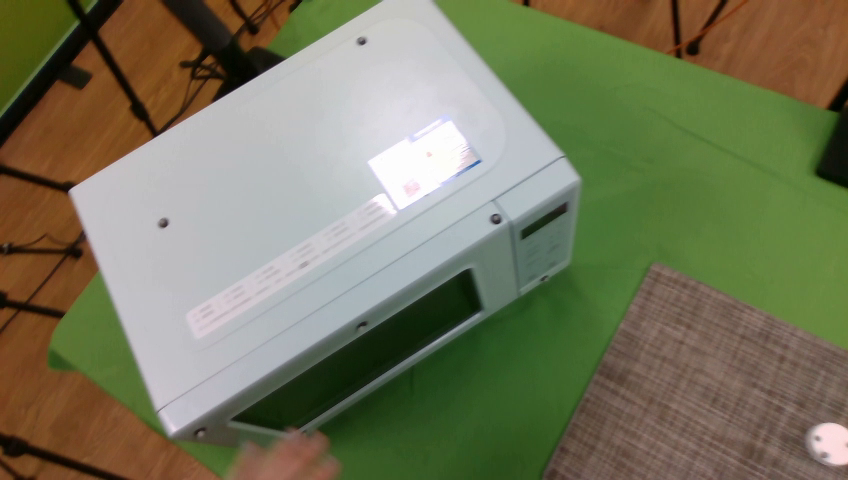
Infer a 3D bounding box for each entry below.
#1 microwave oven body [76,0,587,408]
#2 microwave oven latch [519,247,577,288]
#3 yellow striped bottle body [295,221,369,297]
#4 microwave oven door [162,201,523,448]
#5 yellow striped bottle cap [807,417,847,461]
[{"bbox_3d":[-0.092,-0.028,0.706,0.442,0.262,0.323,-32,67,-2],"label":"microwave oven body"},{"bbox_3d":[0.149,0.026,0.746,0.079,0.030,0.030,-31,67,-2],"label":"microwave oven latch"},{"bbox_3d":[-0.107,0.020,0.699,0.063,0.121,0.062,-3,68,7],"label":"yellow striped bottle body"},{"bbox_3d":[-0.056,0.105,0.642,0.356,0.246,0.039,-32,66,-3],"label":"microwave oven door"},{"bbox_3d":[0.438,0.213,0.649,0.044,0.019,0.044,-4,68,10],"label":"yellow striped bottle cap"}]
